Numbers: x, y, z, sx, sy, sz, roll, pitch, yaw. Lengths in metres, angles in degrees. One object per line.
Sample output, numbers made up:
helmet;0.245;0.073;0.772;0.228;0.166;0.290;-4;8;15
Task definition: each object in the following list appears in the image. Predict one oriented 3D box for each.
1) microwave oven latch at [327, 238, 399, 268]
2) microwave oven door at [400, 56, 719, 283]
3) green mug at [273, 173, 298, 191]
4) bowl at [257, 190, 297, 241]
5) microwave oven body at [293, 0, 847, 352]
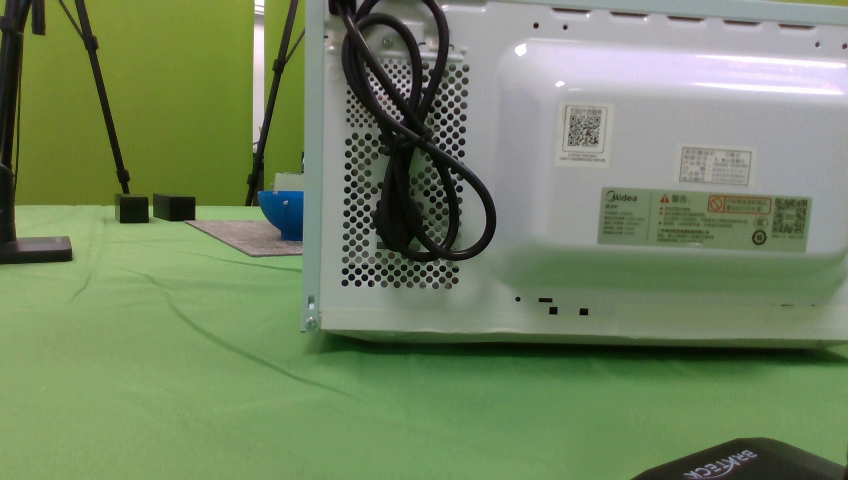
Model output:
microwave oven latch;-0.069;0.015;0.694;0.079;0.029;0.030;3;7;-3
microwave oven door;0.155;-0.077;0.698;0.356;0.243;0.039;2;8;-5
green mug;-0.264;-0.084;1.236;0.093;0.105;0.125;0;8;-13
bowl;-0.206;-0.041;1.027;0.151;0.077;0.151;3;8;0
microwave oven body;0.122;-0.055;0.550;0.442;0.260;0.325;3;7;-5
